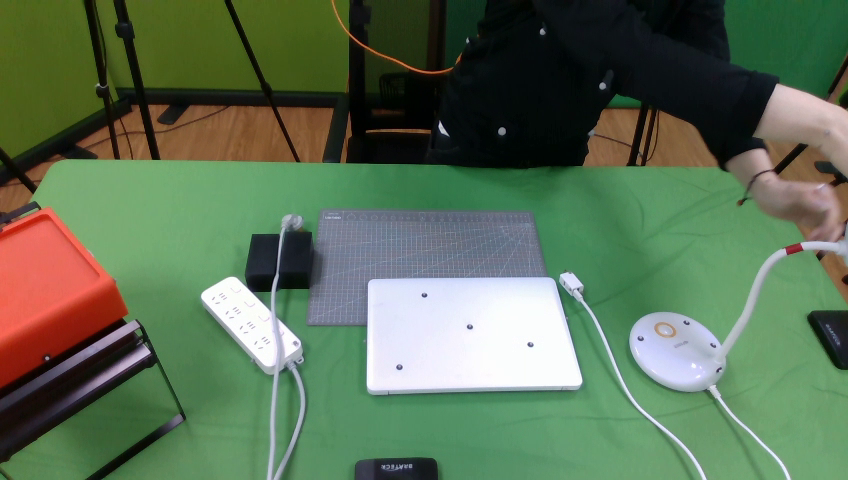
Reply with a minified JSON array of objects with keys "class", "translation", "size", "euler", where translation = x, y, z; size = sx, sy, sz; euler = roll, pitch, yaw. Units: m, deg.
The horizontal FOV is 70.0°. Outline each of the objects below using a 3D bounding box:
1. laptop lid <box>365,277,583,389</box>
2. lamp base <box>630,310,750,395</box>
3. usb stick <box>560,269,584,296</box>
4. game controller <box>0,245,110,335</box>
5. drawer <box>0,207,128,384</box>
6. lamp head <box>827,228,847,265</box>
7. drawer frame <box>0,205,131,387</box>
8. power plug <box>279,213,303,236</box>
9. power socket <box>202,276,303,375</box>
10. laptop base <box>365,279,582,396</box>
[{"class":"laptop lid","translation":[0.078,0.152,1.046],"size":[0.357,0.013,0.240],"euler":[1,45,-3]},{"class":"lamp base","translation":[0.447,0.143,0.984],"size":[0.161,0.181,0.178],"euler":[-24,55,-24]},{"class":"usb stick","translation":[0.275,0.077,1.142],"size":[0.027,0.021,0.059],"euler":[-12,39,-13]},{"class":"game controller","translation":[-0.511,0.062,0.830],"size":[0.097,0.052,0.154],"euler":[-30,58,-31]},{"class":"drawer","translation":[-0.540,0.074,0.799],"size":[0.193,0.073,0.211],"euler":[37,55,27]},{"class":"lamp head","translation":[0.578,-0.002,0.754],"size":[0.112,0.123,0.111],"euler":[2,46,-1]},{"class":"drawer frame","translation":[-0.539,0.076,0.795],"size":[0.200,0.083,0.213],"euler":[36,54,26]},{"class":"power plug","translation":[-0.263,-0.021,1.184],"size":[0.035,0.053,0.072],"euler":[1,48,32]},{"class":"power socket","translation":[-0.296,0.142,1.034],"size":[0.072,0.033,0.225],"euler":[-34,58,-31]},{"class":"laptop base","translation":[0.077,0.162,1.053],"size":[0.355,0.023,0.234],"euler":[0,44,-4]}]
